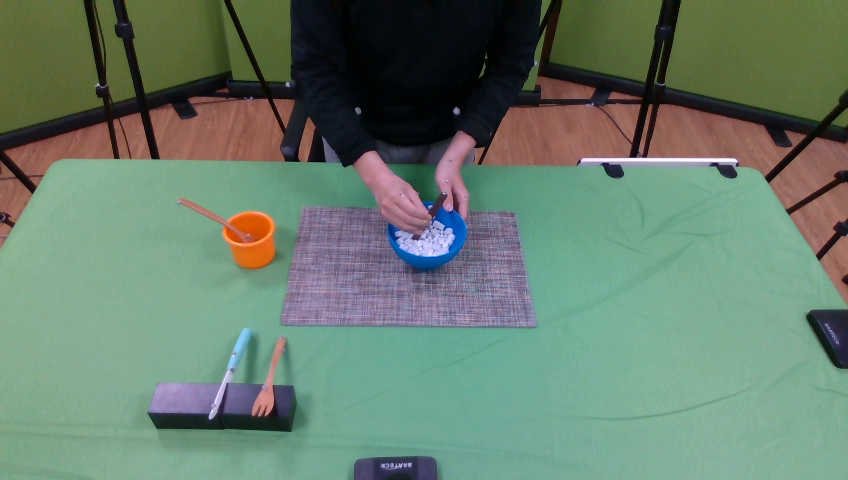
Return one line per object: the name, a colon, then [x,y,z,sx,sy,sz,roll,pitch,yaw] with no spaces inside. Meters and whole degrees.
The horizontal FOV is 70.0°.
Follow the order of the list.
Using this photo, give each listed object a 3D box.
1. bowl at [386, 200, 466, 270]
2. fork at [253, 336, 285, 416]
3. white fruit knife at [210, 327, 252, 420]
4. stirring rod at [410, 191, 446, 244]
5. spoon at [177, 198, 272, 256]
bowl: [0.001,0.003,1.150,0.151,0.077,0.150,2,46,-2]
fork: [-0.235,0.206,0.938,0.028,0.019,0.206,-2,26,-3]
white fruit knife: [-0.298,0.200,0.937,0.016,0.027,0.206,-1,30,0]
stirring rod: [0.005,-0.038,1.100,0.014,0.176,0.006,23,56,-7]
spoon: [-0.361,-0.025,1.107,0.021,0.195,0.041,-32,37,29]
